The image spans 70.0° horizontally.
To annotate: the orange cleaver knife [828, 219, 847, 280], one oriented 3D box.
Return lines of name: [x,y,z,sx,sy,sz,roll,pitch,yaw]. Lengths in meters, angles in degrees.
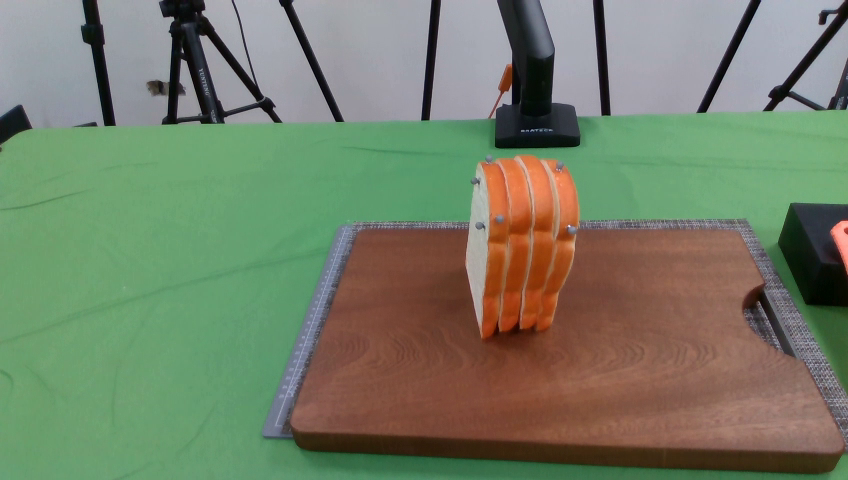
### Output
orange cleaver knife: [0.384,0.061,0.501,0.077,0.012,0.210,10,57,13]

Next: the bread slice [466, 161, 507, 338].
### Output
bread slice: [0.053,0.000,0.530,0.018,0.135,0.106,-2,33,-3]

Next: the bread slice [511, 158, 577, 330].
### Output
bread slice: [0.104,-0.002,0.528,0.019,0.132,0.104,1,38,-7]
